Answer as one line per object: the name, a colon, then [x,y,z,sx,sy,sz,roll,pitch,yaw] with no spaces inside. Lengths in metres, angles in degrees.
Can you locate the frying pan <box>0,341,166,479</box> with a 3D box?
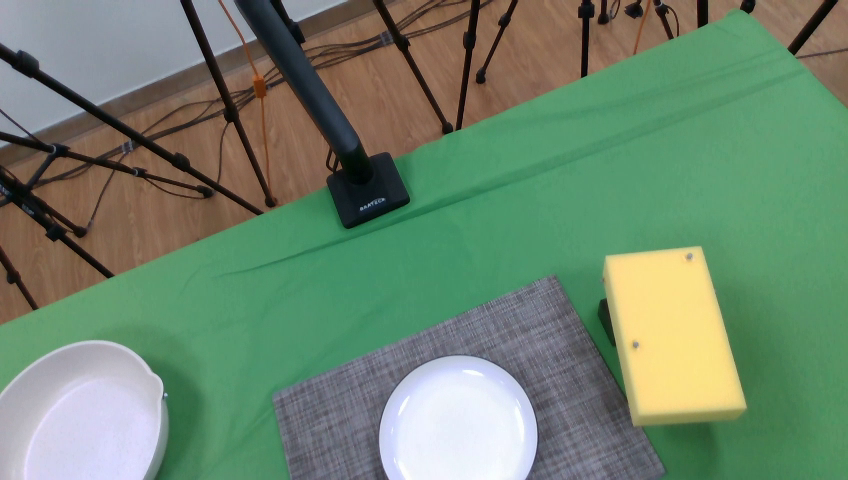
frying pan: [-0.453,0.359,0.797,0.307,0.104,0.482,-30,52,-4]

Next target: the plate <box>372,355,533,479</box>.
plate: [0.037,0.255,0.789,0.207,0.039,0.206,-5,61,9]

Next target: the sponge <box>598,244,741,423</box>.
sponge: [0.293,0.113,0.747,0.118,0.061,0.205,-7,60,7]
